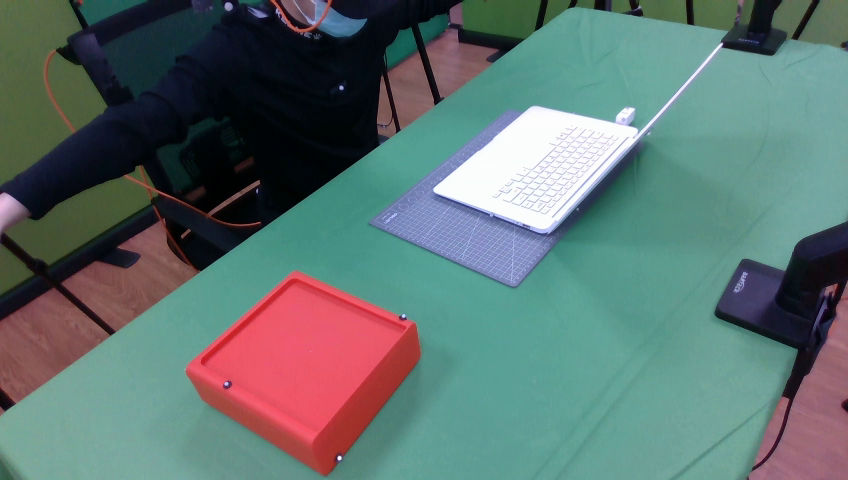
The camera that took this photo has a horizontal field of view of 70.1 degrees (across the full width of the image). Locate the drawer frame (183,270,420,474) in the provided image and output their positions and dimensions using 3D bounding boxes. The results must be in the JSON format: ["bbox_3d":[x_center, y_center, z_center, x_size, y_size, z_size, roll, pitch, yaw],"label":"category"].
[{"bbox_3d":[-0.149,0.153,0.767,0.212,0.083,0.202,20,46,27],"label":"drawer frame"}]

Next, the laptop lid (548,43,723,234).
[{"bbox_3d":[0.335,-0.160,0.955,0.013,0.241,0.358,42,54,8],"label":"laptop lid"}]

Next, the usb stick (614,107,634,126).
[{"bbox_3d":[0.385,-0.233,1.174,0.021,0.027,0.059,22,47,30],"label":"usb stick"}]

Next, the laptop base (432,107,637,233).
[{"bbox_3d":[0.210,-0.142,1.111,0.233,0.023,0.355,21,48,33],"label":"laptop base"}]

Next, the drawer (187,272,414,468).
[{"bbox_3d":[-0.150,0.154,0.768,0.210,0.073,0.195,20,46,28],"label":"drawer"}]
